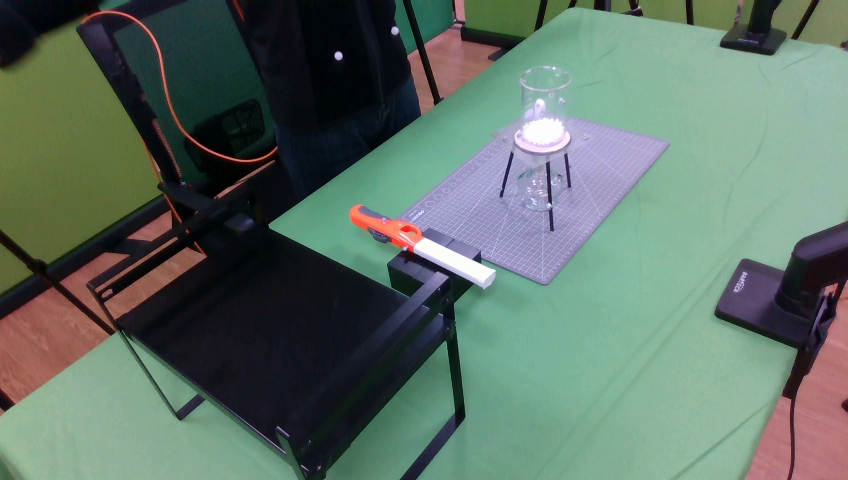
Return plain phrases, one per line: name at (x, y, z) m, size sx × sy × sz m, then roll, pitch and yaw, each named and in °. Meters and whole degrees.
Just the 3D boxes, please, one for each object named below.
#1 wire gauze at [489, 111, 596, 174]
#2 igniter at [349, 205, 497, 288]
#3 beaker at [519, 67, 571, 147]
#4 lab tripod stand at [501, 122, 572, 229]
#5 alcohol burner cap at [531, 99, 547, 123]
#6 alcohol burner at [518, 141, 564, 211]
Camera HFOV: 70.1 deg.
wire gauze at (0.183, -0.159, 0.943) m, size 0.122 × 0.011 × 0.124 m, roll -25°, pitch 47°, yaw -17°
igniter at (-0.013, 0.004, 0.897) m, size 0.274 × 0.025 × 0.057 m, roll 25°, pitch 44°, yaw 32°
beaker at (0.184, -0.201, 0.917) m, size 0.073 × 0.101 × 0.084 m, roll 26°, pitch 51°, yaw 31°
lab tripod stand at (0.194, -0.110, 0.985) m, size 0.148 × 0.132 × 0.147 m, roll -3°, pitch 42°, yaw 3°
alcohol burner cap at (0.234, -0.264, 1.231) m, size 0.034 × 0.048 × 0.033 m, roll -5°, pitch 41°, yaw 5°
alcohol burner at (0.193, -0.109, 0.999) m, size 0.078 × 0.119 × 0.077 m, roll -5°, pitch 38°, yaw 5°
